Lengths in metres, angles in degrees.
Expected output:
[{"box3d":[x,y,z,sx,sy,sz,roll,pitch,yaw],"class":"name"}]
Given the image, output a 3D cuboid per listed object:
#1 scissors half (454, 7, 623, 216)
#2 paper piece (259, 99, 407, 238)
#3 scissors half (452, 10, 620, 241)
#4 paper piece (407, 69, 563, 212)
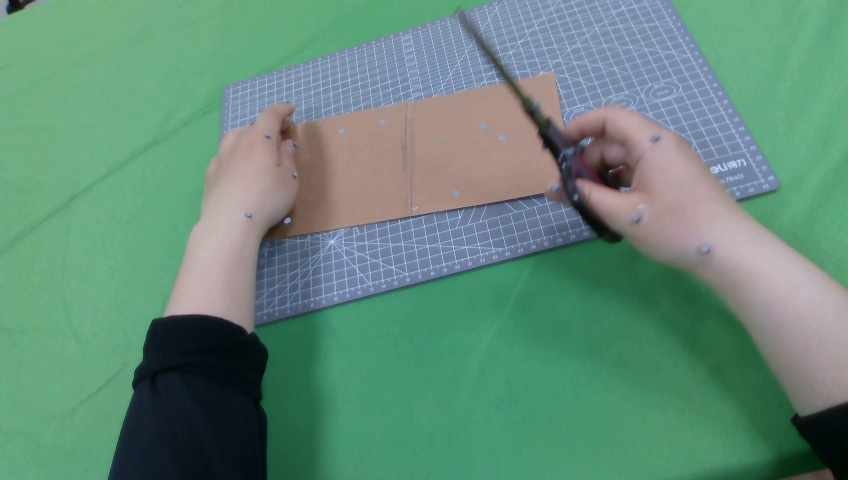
[{"box3d":[0.076,-0.080,0.390,0.013,0.176,0.039,-28,28,37],"class":"scissors half"},{"box3d":[-0.079,-0.068,0.546,0.138,0.009,0.134,-9,53,12],"class":"paper piece"},{"box3d":[0.070,-0.069,0.375,0.013,0.176,0.040,-31,11,32],"class":"scissors half"},{"box3d":[0.050,-0.089,0.520,0.135,0.004,0.134,-8,57,11],"class":"paper piece"}]
